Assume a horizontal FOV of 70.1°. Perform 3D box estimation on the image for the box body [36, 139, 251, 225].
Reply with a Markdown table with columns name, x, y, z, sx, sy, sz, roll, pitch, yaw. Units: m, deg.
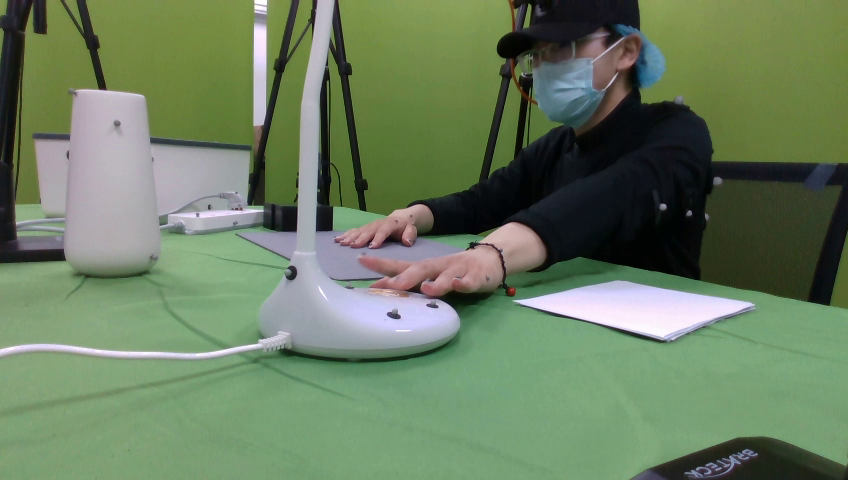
| name | x | y | z | sx | sy | sz | roll | pitch | yaw |
| --- | --- | --- | --- | --- | --- | --- | --- | --- | --- |
| box body | -0.558 | -0.126 | 1.257 | 0.253 | 0.160 | 0.365 | 4 | 8 | 15 |

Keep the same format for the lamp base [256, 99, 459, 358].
| name | x | y | z | sx | sy | sz | roll | pitch | yaw |
| --- | --- | --- | --- | --- | --- | --- | --- | --- | --- |
| lamp base | -0.055 | -0.013 | 0.463 | 0.160 | 0.180 | 0.180 | 6 | 11 | 27 |

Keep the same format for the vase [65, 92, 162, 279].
| name | x | y | z | sx | sy | sz | roll | pitch | yaw |
| --- | --- | --- | --- | --- | --- | --- | --- | --- | --- |
| vase | -0.347 | -0.060 | 0.673 | 0.098 | 0.200 | 0.098 | 1 | 7 | 0 |

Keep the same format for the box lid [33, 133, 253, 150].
| name | x | y | z | sx | sy | sz | roll | pitch | yaw |
| --- | --- | --- | --- | --- | --- | --- | --- | --- | --- |
| box lid | -0.555 | -0.199 | 1.249 | 0.263 | 0.015 | 0.372 | 5 | 8 | 15 |

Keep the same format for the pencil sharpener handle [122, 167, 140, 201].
| name | x | y | z | sx | sy | sz | roll | pitch | yaw |
| --- | --- | --- | --- | --- | --- | --- | --- | --- | --- |
| pencil sharpener handle | -0.585 | -0.111 | 1.193 | 0.030 | 0.068 | 0.036 | 4 | 14 | 21 |

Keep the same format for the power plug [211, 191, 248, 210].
| name | x | y | z | sx | sy | sz | roll | pitch | yaw |
| --- | --- | --- | --- | --- | --- | --- | --- | --- | --- |
| power plug | -0.384 | -0.071 | 1.205 | 0.072 | 0.052 | 0.035 | 1 | 8 | 28 |

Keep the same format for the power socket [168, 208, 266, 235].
| name | x | y | z | sx | sy | sz | roll | pitch | yaw |
| --- | --- | --- | --- | --- | --- | --- | --- | --- | --- |
| power socket | -0.379 | -0.038 | 1.129 | 0.072 | 0.032 | 0.227 | 4 | 8 | 18 |

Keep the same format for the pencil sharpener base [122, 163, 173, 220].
| name | x | y | z | sx | sy | sz | roll | pitch | yaw |
| --- | --- | --- | --- | --- | --- | --- | --- | --- | --- |
| pencil sharpener base | -0.539 | -0.095 | 1.174 | 0.076 | 0.107 | 0.061 | 4 | 7 | 21 |
